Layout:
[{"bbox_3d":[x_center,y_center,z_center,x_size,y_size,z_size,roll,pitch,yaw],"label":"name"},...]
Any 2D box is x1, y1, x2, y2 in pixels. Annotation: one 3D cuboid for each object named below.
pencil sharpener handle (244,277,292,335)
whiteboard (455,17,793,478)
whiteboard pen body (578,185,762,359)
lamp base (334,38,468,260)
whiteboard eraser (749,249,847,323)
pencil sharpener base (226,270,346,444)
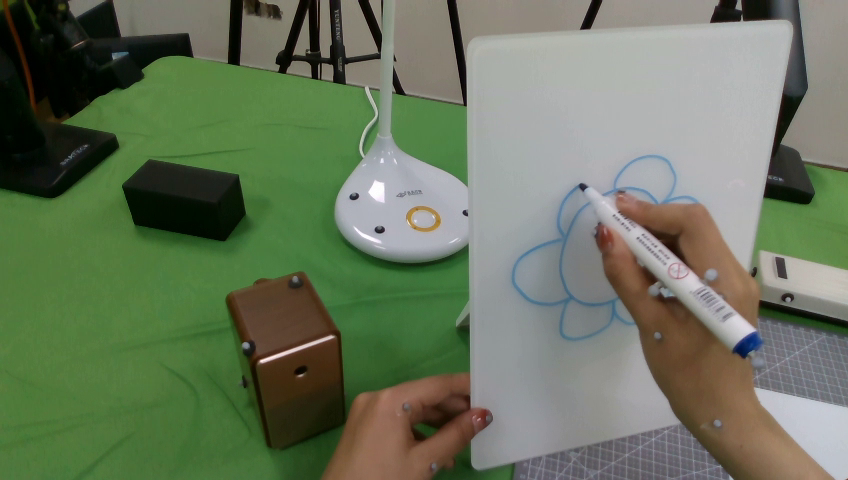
[{"bbox_3d":[-0.123,0.047,0.476,0.036,0.068,0.030,-24,47,-17],"label":"pencil sharpener handle"},{"bbox_3d":[0.118,-0.006,0.469,0.218,0.307,0.142,-8,23,-12],"label":"whiteboard"},{"bbox_3d":[0.127,0.010,0.333,0.017,0.017,0.139,-16,46,-21],"label":"whiteboard pen body"},{"bbox_3d":[-0.020,-0.099,0.617,0.161,0.182,0.177,-21,44,-26],"label":"lamp base"},{"bbox_3d":[0.376,0.048,0.588,0.112,0.042,0.055,13,40,11],"label":"whiteboard eraser"},{"bbox_3d":[-0.101,0.086,0.451,0.061,0.108,0.076,-18,45,-23],"label":"pencil sharpener base"}]
